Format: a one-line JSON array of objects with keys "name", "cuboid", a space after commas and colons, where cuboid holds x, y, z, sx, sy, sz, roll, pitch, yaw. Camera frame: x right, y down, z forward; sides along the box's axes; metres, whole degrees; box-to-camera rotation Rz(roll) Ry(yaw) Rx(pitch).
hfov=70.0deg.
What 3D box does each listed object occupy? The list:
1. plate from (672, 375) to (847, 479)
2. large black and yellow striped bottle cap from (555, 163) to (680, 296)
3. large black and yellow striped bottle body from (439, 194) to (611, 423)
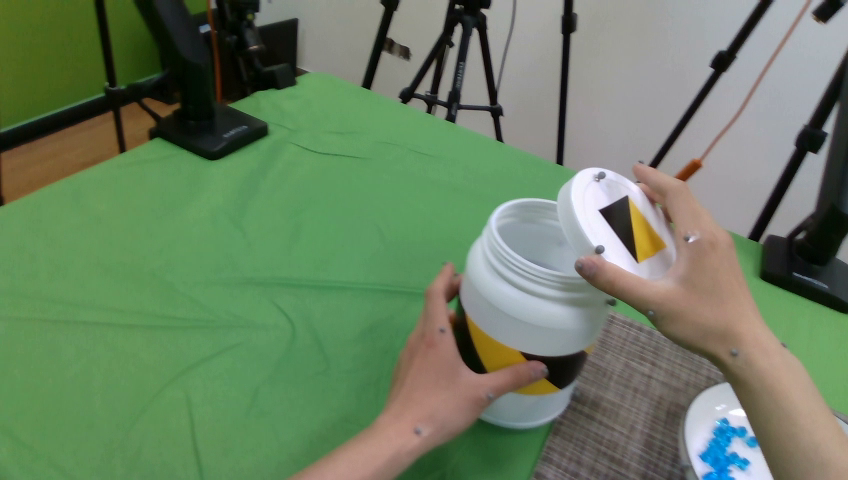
[{"name": "plate", "cuboid": [0.321, 0.213, 0.539, 0.208, 0.039, 0.205, 8, 37, -6]}, {"name": "large black and yellow striped bottle cap", "cuboid": [0.152, -0.011, 0.474, 0.116, 0.019, 0.114, 19, 50, -24]}, {"name": "large black and yellow striped bottle body", "cuboid": [0.091, 0.063, 0.554, 0.131, 0.185, 0.129, 7, 37, -5]}]
